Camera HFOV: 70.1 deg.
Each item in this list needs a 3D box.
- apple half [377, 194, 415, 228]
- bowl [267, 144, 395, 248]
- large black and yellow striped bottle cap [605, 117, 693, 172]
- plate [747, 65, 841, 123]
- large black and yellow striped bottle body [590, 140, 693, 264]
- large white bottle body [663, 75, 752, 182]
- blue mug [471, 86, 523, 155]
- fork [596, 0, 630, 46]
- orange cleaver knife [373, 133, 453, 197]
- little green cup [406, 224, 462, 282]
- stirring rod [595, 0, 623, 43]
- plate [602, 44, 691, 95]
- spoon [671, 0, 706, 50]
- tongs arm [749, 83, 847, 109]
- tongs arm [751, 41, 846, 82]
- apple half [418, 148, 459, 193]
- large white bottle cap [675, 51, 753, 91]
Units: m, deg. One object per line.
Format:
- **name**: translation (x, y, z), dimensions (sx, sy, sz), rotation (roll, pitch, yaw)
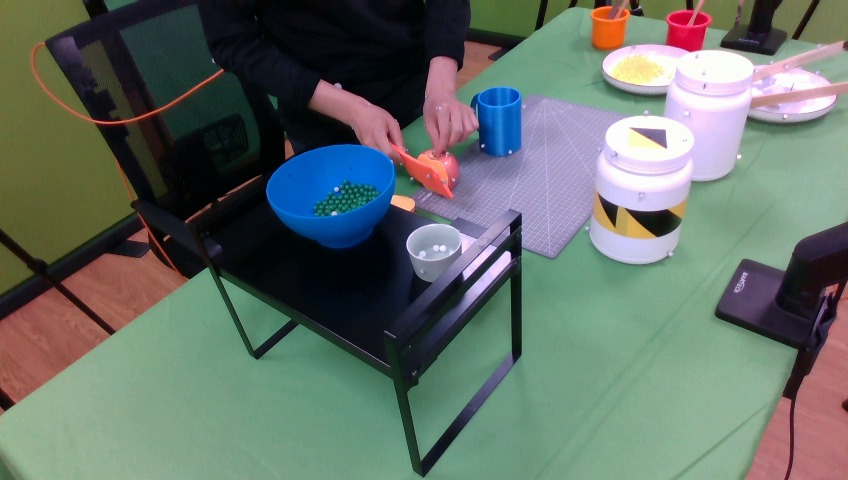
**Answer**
- **apple half**: translation (-0.049, -0.044, 1.029), dimensions (0.081, 0.033, 0.081), rotation (-16, 36, 13)
- **bowl**: translation (-0.104, -0.043, 0.726), dimensions (0.151, 0.077, 0.150), rotation (-4, 40, 4)
- **large black and yellow striped bottle cap**: translation (0.309, -0.134, 0.833), dimensions (0.115, 0.019, 0.114), rotation (-5, 40, 5)
- **plate**: translation (0.694, -0.283, 1.189), dimensions (0.207, 0.039, 0.206), rotation (-4, 40, 4)
- **large black and yellow striped bottle body**: translation (0.317, -0.071, 0.889), dimensions (0.131, 0.185, 0.130), rotation (-4, 41, 4)
- **large white bottle body**: translation (0.472, -0.207, 1.022), dimensions (0.130, 0.185, 0.130), rotation (-4, 41, 4)
- **blue mug**: translation (0.135, -0.235, 1.163), dimensions (0.082, 0.106, 0.115), rotation (-36, 48, -28)
- **fork**: translation (0.481, -0.556, 1.452), dimensions (0.028, 0.019, 0.207), rotation (40, 103, 41)
- **orange cleaver knife**: translation (-0.021, -0.133, 1.064), dimensions (0.012, 0.078, 0.209), rotation (-41, 46, -13)
- **little green cup**: translation (0.012, 0.015, 0.668), dimensions (0.061, 0.039, 0.061), rotation (-4, 40, 4)
- **stirring rod**: translation (0.460, -0.556, 1.459), dimensions (0.014, 0.006, 0.176), rotation (30, 94, 23)
- **plate**: translation (0.495, -0.367, 1.317), dimensions (0.209, 0.038, 0.208), rotation (-4, 40, 4)
- **spoon**: translation (0.628, -0.520, 1.394), dimensions (0.041, 0.022, 0.193), rotation (30, 97, 34)
- **tongs arm**: translation (0.734, -0.280, 1.134), dimensions (0.388, 0.028, 0.028), rotation (-9, 47, -5)
- **tongs arm**: translation (0.708, -0.331, 1.194), dimensions (0.386, 0.026, 0.050), rotation (-19, 45, -16)
- **apple half**: translation (0.033, -0.128, 1.080), dimensions (0.080, 0.075, 0.053), rotation (24, 46, 38)
- **large white bottle cap**: translation (0.463, -0.271, 0.967), dimensions (0.115, 0.018, 0.114), rotation (-4, 40, 4)
